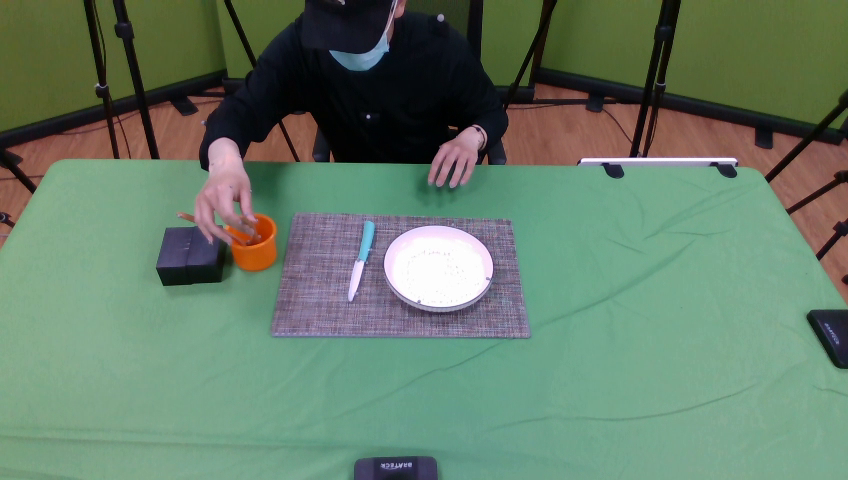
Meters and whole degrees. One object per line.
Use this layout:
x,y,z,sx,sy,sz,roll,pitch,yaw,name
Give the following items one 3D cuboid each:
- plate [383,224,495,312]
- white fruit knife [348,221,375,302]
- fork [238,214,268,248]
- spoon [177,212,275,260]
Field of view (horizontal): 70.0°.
0.026,0.055,1.128,0.209,0.038,0.208,2,46,-2,plate
-0.119,0.037,1.153,0.027,0.016,0.206,-15,43,25,white fruit knife
-0.297,-0.014,1.054,0.028,0.208,0.018,27,73,2,fork
-0.353,-0.009,1.091,0.021,0.195,0.041,-44,40,15,spoon
